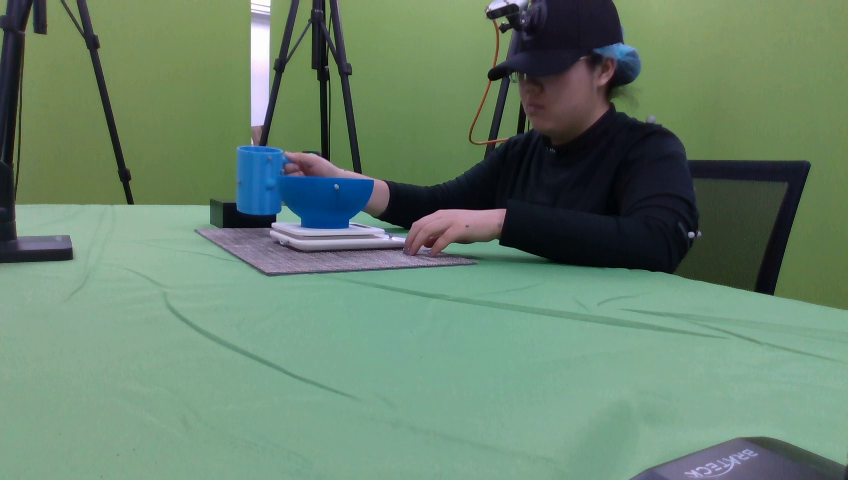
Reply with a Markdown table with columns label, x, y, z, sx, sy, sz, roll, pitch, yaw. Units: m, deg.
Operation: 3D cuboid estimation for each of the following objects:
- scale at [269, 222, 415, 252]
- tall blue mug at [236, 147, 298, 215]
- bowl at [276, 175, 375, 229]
| label | x | y | z | sx | sy | sz | roll | pitch | yaw |
| --- | --- | --- | --- | --- | --- | --- | --- | --- | --- |
| scale | -0.130 | -0.007 | 0.958 | 0.202 | 0.031 | 0.148 | -1 | 9 | -32 |
| tall blue mug | -0.282 | -0.107 | 1.070 | 0.077 | 0.108 | 0.107 | 10 | 16 | 17 |
| bowl | -0.152 | -0.058 | 0.932 | 0.151 | 0.077 | 0.151 | 3 | 6 | 0 |
